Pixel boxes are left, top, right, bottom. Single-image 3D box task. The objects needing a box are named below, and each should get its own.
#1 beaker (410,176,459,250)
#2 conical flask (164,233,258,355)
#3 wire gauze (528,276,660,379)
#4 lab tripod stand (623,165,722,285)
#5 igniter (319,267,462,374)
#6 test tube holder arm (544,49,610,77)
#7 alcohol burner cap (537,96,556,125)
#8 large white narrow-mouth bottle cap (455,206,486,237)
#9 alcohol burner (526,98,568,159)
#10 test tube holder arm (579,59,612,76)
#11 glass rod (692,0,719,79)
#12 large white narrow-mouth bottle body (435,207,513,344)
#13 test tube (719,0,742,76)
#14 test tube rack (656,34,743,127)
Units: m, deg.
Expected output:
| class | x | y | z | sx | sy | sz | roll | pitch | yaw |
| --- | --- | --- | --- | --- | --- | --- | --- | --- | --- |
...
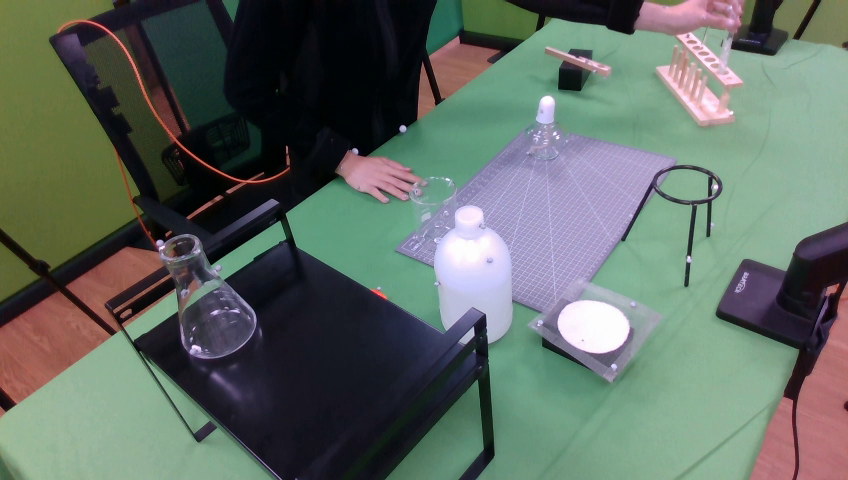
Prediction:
| class | x | y | z | sx | sy | sz | roll | pitch | yaw |
| --- | --- | --- | --- | --- | --- | --- | --- | --- | --- |
| beaker | 0.022 | -0.041 | 0.963 | 0.073 | 0.101 | 0.084 | 28 | 51 | 35 |
| conical flask | -0.217 | 0.051 | 0.601 | 0.075 | 0.122 | 0.075 | -4 | 40 | 4 |
| wire gauze | 0.214 | 0.103 | 0.763 | 0.124 | 0.011 | 0.122 | 30 | 53 | 35 |
| lab tripod stand | 0.365 | -0.030 | 0.875 | 0.148 | 0.132 | 0.147 | -6 | 41 | 6 |
| igniter | -0.059 | 0.107 | 0.862 | 0.274 | 0.025 | 0.057 | 28 | 62 | 34 |
| test tube holder arm | 0.330 | -0.386 | 1.314 | 0.013 | 0.015 | 0.177 | -25 | 42 | -31 |
| alcohol burner cap | 0.223 | -0.237 | 1.095 | 0.034 | 0.048 | 0.033 | 0 | 42 | 1 |
| large white narrow-mouth bottle cap | 0.057 | -0.023 | 0.734 | 0.038 | 0.024 | 0.037 | -4 | 41 | 4 |
| alcohol burner | 0.228 | -0.210 | 1.118 | 0.078 | 0.119 | 0.077 | -5 | 43 | 5 |
| test tube holder arm | 0.363 | -0.368 | 1.289 | 0.010 | 0.015 | 0.087 | -25 | 42 | -31 |
| glass rod | 0.561 | -0.401 | 1.213 | 0.008 | 0.200 | 0.008 | -1 | 48 | 2 |
| large white narrow-mouth bottle body | 0.065 | 0.041 | 0.791 | 0.102 | 0.195 | 0.101 | -4 | 41 | 4 |
| test tube | 0.561 | -0.369 | 1.110 | 0.017 | 0.151 | 0.017 | -6 | 40 | 5 |
| test tube rack | 0.554 | -0.331 | 1.233 | 0.067 | 0.085 | 0.241 | -7 | 40 | 2 |
